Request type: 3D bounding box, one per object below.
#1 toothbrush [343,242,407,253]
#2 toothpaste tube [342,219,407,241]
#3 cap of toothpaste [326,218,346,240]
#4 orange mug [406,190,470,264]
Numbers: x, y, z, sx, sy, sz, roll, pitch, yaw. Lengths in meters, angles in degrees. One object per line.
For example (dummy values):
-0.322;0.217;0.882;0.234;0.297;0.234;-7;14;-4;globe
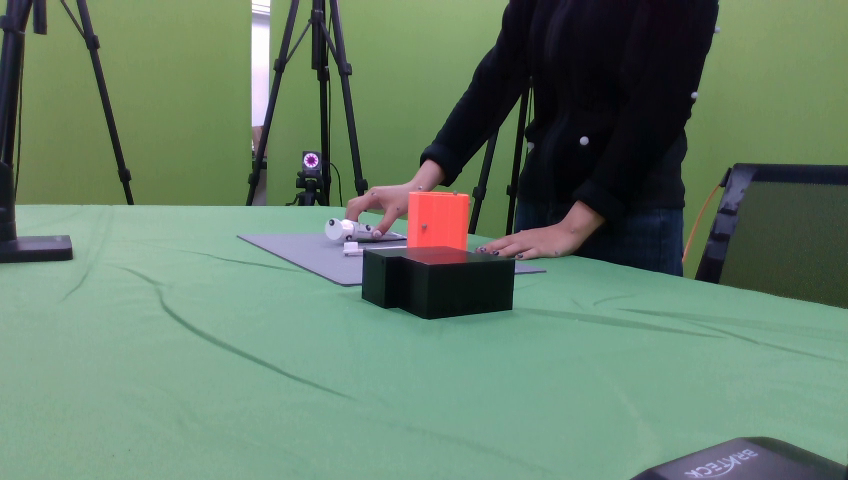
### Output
-0.039;0.010;0.905;0.183;0.016;0.014;-1;-7;-36;toothbrush
-0.089;-0.014;1.025;0.055;0.034;0.166;13;5;37;toothpaste tube
-0.140;-0.018;0.960;0.037;0.037;0.011;5;7;25;cap of toothpaste
0.027;-0.023;0.866;0.083;0.101;0.126;6;12;24;orange mug
